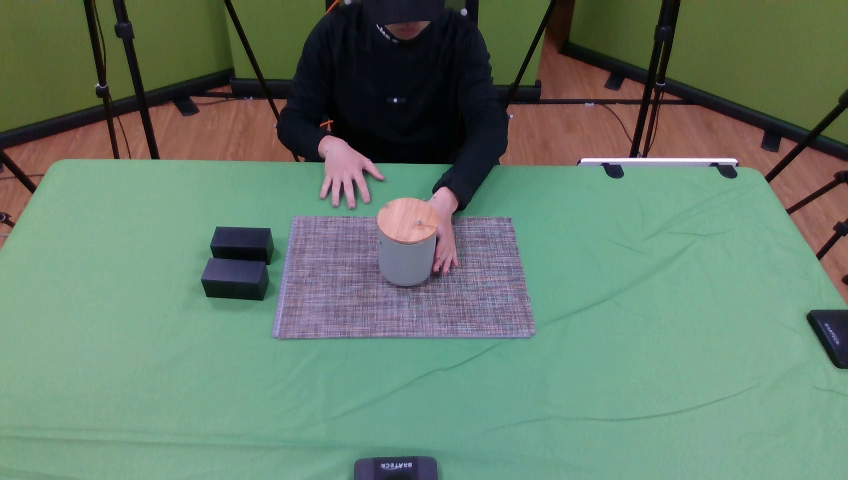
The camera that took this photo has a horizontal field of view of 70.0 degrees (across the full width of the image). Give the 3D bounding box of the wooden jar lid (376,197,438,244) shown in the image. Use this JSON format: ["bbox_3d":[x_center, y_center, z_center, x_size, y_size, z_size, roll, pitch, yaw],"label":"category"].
[{"bbox_3d":[-0.029,-0.031,1.060,0.108,0.021,0.107,2,47,-1],"label":"wooden jar lid"}]

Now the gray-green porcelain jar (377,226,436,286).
[{"bbox_3d":[-0.033,0.014,1.106,0.106,0.127,0.105,2,46,-2],"label":"gray-green porcelain jar"}]
